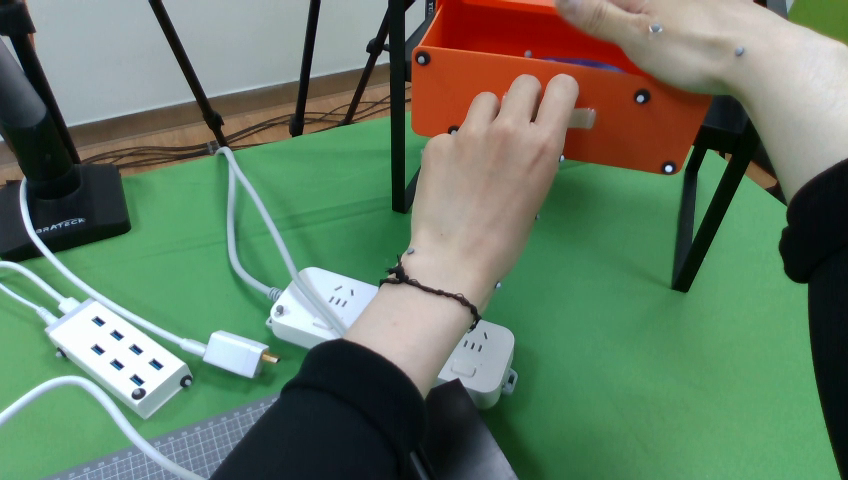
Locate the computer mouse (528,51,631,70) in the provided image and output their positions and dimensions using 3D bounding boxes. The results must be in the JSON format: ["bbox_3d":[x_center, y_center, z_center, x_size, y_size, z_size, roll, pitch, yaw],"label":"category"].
[{"bbox_3d":[0.112,-0.116,0.460,0.063,0.041,0.116,-36,53,-28],"label":"computer mouse"}]

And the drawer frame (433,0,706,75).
[{"bbox_3d":[0.124,-0.216,0.541,0.201,0.083,0.212,9,44,6],"label":"drawer frame"}]

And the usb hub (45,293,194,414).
[{"bbox_3d":[-0.256,0.092,0.507,0.124,0.025,0.049,26,49,22],"label":"usb hub"}]

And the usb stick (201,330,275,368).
[{"bbox_3d":[-0.153,0.092,0.508,0.059,0.021,0.027,12,86,-9],"label":"usb stick"}]

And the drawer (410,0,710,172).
[{"bbox_3d":[0.106,-0.155,0.482,0.194,0.074,0.210,10,44,8],"label":"drawer"}]

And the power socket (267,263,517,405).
[{"bbox_3d":[-0.028,0.078,0.527,0.226,0.033,0.072,16,46,14],"label":"power socket"}]
